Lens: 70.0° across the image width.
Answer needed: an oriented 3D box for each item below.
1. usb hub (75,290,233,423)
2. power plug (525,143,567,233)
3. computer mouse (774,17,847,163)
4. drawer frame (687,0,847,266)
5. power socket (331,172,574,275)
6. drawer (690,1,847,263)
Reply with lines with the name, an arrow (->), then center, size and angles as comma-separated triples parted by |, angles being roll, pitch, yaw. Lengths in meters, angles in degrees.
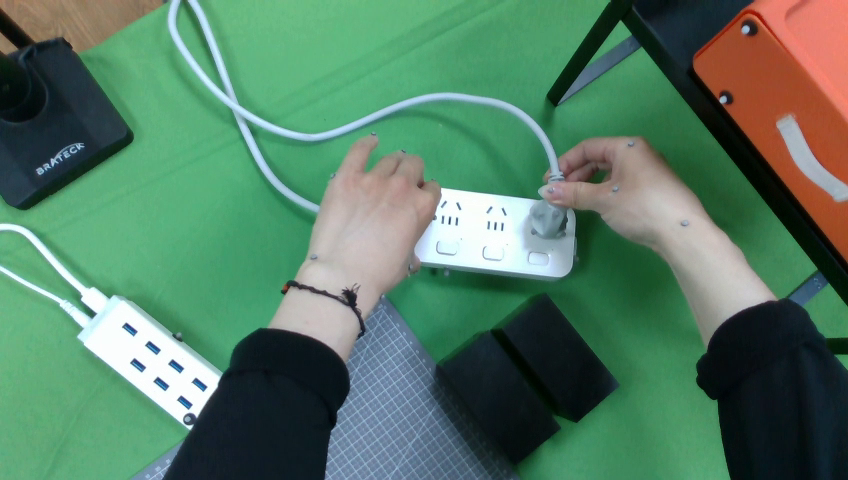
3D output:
usb hub -> -0.230, 0.099, 0.517 | 0.125, 0.025, 0.049 | 38, 81, 1
power plug -> 0.111, -0.042, 0.536 | 0.035, 0.052, 0.072 | 16, 77, -9
computer mouse -> 0.293, -0.093, 0.401 | 0.063, 0.041, 0.117 | -40, 85, -6
drawer frame -> 0.320, -0.114, 0.390 | 0.213, 0.083, 0.201 | -37, 86, -10
power socket -> 0.031, -0.014, 0.555 | 0.227, 0.032, 0.072 | 7, 81, -4
drawer -> 0.318, -0.110, 0.391 | 0.212, 0.073, 0.194 | -36, 86, -10
